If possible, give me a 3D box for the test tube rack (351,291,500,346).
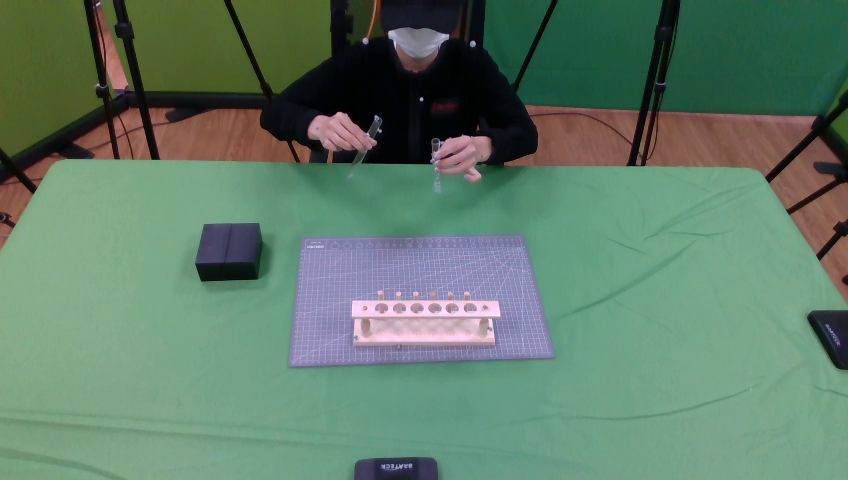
[{"bbox_3d":[0.000,0.129,1.026,0.242,0.085,0.066,1,46,-4],"label":"test tube rack"}]

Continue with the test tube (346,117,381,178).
[{"bbox_3d":[-0.116,-0.172,1.151,0.017,0.150,0.017,19,41,-18],"label":"test tube"}]

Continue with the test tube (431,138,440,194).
[{"bbox_3d":[0.023,-0.136,1.141,0.017,0.151,0.017,-1,56,1],"label":"test tube"}]
